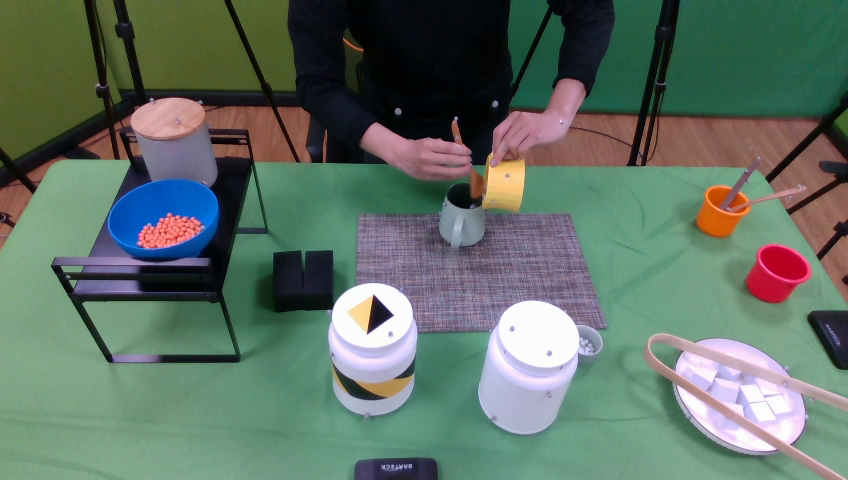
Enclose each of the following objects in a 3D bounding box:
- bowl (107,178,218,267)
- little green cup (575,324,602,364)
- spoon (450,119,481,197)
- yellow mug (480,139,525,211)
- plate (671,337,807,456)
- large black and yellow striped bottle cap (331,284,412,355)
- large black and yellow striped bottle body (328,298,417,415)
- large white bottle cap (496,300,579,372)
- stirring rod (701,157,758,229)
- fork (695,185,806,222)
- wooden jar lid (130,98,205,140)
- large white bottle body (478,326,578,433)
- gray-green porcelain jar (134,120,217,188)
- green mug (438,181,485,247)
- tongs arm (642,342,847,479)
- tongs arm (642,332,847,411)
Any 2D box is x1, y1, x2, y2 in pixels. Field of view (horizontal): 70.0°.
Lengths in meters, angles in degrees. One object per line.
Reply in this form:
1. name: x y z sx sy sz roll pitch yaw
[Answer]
1. bowl: -0.374 -0.014 0.893 0.151 0.077 0.150 2 46 -2
2. little green cup: 0.269 0.179 1.036 0.061 0.039 0.061 2 46 -2
3. spoon: 0.069 -0.141 1.062 0.021 0.195 0.041 30 70 37
4. yellow mug: 0.143 -0.119 1.096 0.064 0.131 0.099 6 26 -1
5. plate: 0.504 0.254 0.984 0.208 0.039 0.206 2 46 -2
6. large black and yellow striped bottle cap: -0.073 0.111 0.858 0.115 0.019 0.114 2 46 -2
7. large black and yellow striped bottle body: -0.078 0.167 0.920 0.131 0.185 0.130 2 46 -2
8. large white bottle cap: 0.160 0.133 0.852 0.115 0.018 0.114 3 46 -2
9. stirring rod: 0.634 -0.097 1.257 0.014 0.006 0.176 38 97 29
10. fork: 0.658 -0.074 1.229 0.207 0.019 0.028 -23 36 37
11. wooden jar lid: -0.393 -0.183 0.934 0.108 0.021 0.107 2 43 -2
12. large white bottle body: 0.156 0.192 0.913 0.131 0.185 0.130 2 46 -2
13. gray-green porcelain jar: -0.397 -0.141 0.979 0.106 0.127 0.105 2 47 -2
14. green mug: 0.072 -0.039 1.178 0.092 0.105 0.124 12 47 7
15. tongs arm: 0.504 0.278 0.918 0.386 0.028 0.028 33 59 22
16. tongs arm: 0.546 0.227 0.968 0.384 0.026 0.050 22 52 13
